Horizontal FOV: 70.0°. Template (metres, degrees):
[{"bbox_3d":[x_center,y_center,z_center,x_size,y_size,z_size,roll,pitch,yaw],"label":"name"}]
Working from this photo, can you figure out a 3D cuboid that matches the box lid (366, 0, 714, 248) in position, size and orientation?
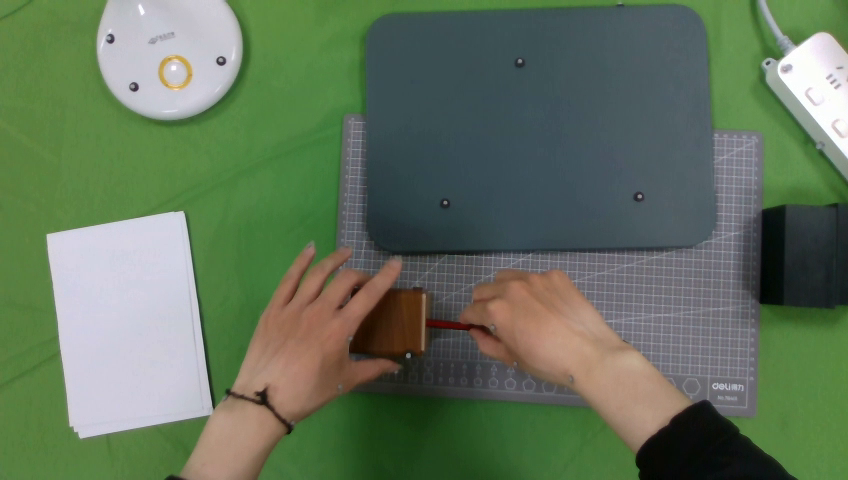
[{"bbox_3d":[0.122,-0.124,0.650,0.371,0.015,0.263,-1,87,2],"label":"box lid"}]

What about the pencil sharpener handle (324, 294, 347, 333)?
[{"bbox_3d":[-0.087,0.068,0.586,0.030,0.067,0.036,2,93,3],"label":"pencil sharpener handle"}]

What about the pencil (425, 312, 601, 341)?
[{"bbox_3d":[0.072,0.080,0.572,0.194,0.012,0.012,7,87,-2],"label":"pencil"}]

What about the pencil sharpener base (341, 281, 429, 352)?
[{"bbox_3d":[-0.036,0.072,0.597,0.076,0.107,0.061,2,87,2],"label":"pencil sharpener base"}]

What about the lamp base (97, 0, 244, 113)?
[{"bbox_3d":[-0.286,-0.233,0.587,0.160,0.180,0.178,-28,84,0],"label":"lamp base"}]

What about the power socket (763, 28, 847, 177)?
[{"bbox_3d":[0.450,-0.119,0.628,0.072,0.032,0.226,-37,86,0],"label":"power socket"}]
